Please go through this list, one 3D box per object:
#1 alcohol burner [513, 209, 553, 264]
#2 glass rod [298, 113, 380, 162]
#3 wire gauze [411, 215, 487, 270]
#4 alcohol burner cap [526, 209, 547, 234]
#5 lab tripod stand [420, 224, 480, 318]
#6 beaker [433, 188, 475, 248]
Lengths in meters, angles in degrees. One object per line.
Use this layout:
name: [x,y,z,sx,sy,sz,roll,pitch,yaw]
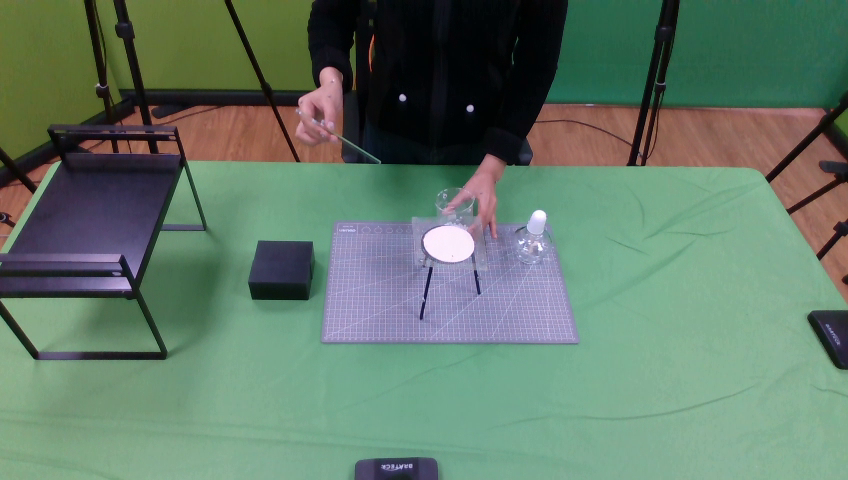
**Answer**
alcohol burner: [0.210,-0.012,1.158,0.078,0.120,0.077,1,44,-1]
glass rod: [-0.142,-0.175,1.050,0.008,0.201,0.008,-14,65,34]
wire gauze: [0.041,0.002,1.025,0.125,0.011,0.120,1,46,-3]
alcohol burner cap: [0.212,-0.037,1.133,0.034,0.048,0.033,5,51,-5]
lab tripod stand: [0.034,0.052,1.070,0.148,0.132,0.147,3,48,-3]
beaker: [0.062,-0.042,1.174,0.084,0.101,0.073,-20,46,-15]
